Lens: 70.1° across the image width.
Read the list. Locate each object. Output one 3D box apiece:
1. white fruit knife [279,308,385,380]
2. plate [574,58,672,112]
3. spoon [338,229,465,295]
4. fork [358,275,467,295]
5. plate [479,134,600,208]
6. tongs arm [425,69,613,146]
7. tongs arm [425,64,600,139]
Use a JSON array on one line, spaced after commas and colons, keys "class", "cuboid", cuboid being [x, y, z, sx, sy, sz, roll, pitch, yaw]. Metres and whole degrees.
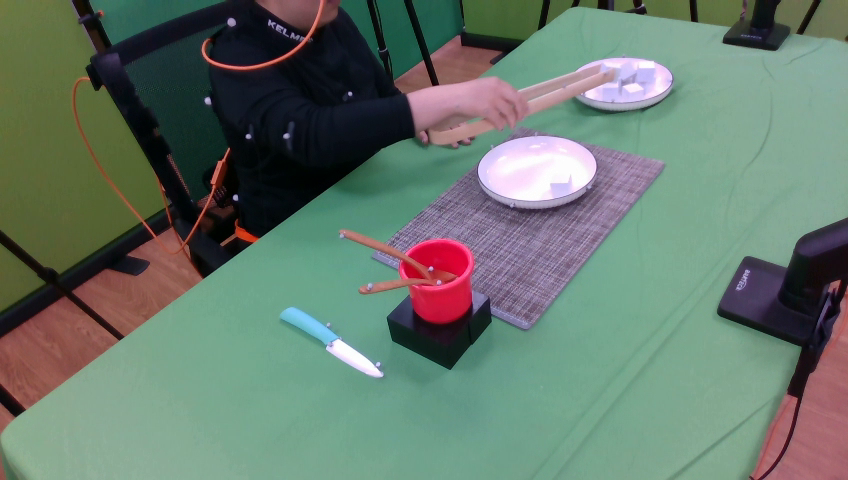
[{"class": "white fruit knife", "cuboid": [-0.130, 0.143, 0.845, 0.205, 0.016, 0.027, 25, 79, 32]}, {"class": "plate", "cuboid": [0.411, -0.323, 1.274, 0.209, 0.038, 0.208, -5, 41, 5]}, {"class": "spoon", "cuboid": [-0.025, 0.026, 0.776, 0.021, 0.195, 0.041, -41, 34, 32]}, {"class": "fork", "cuboid": [-0.009, 0.056, 0.739, 0.028, 0.018, 0.209, 48, 23, 26]}, {"class": "plate", "cuboid": [0.202, -0.117, 1.065, 0.207, 0.039, 0.206, -5, 40, 5]}, {"class": "tongs arm", "cuboid": [0.182, -0.249, 1.110, 0.386, 0.026, 0.050, -25, 41, -18]}, {"class": "tongs arm", "cuboid": [0.172, -0.261, 1.129, 0.389, 0.028, 0.028, -22, 44, -15]}]
